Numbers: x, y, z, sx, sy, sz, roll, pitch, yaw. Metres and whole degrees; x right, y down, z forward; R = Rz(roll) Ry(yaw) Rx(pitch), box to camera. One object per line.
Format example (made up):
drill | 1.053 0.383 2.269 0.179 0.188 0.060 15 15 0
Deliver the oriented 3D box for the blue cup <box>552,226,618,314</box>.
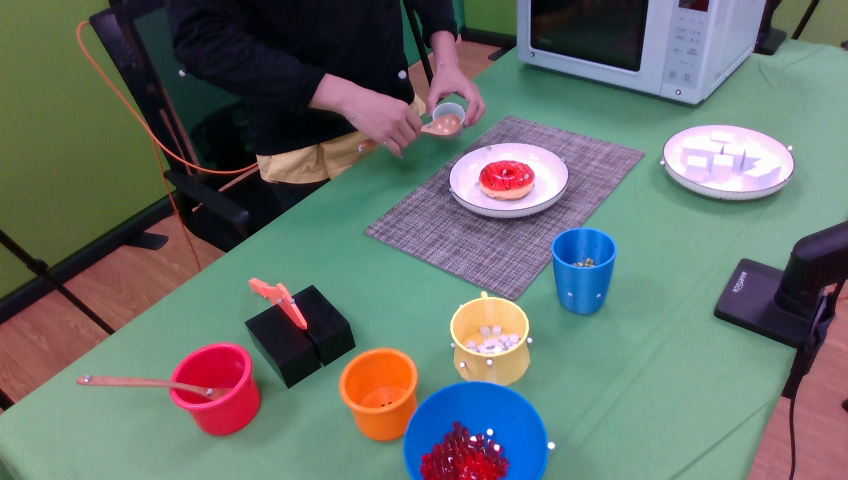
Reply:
blue cup | 0.218 0.047 0.826 0.092 0.100 0.092 -6 40 5

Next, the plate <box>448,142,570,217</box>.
plate | 0.148 -0.101 1.053 0.209 0.038 0.208 -4 40 4

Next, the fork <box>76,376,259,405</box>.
fork | -0.295 0.176 0.716 0.209 0.018 0.028 19 27 -36

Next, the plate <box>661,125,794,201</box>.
plate | 0.513 -0.128 1.035 0.207 0.039 0.206 -4 40 4

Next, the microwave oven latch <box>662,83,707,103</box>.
microwave oven latch | 0.517 -0.296 1.204 0.078 0.029 0.030 27 52 35

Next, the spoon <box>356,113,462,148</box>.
spoon | -0.025 -0.189 1.054 0.194 0.021 0.041 -15 71 -18

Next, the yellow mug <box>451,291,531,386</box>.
yellow mug | 0.085 0.120 0.786 0.100 0.064 0.130 -7 39 1

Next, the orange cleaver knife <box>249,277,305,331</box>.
orange cleaver knife | -0.210 0.088 0.856 0.012 0.077 0.210 -28 15 -25

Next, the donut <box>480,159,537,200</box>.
donut | 0.145 -0.106 1.042 0.099 0.048 0.098 -4 37 4

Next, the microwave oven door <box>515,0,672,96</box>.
microwave oven door | 0.344 -0.455 1.259 0.353 0.245 0.039 26 51 33

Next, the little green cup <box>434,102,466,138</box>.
little green cup | 0.048 -0.222 1.129 0.061 0.039 0.061 -1 61 2

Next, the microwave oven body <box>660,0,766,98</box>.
microwave oven body | 0.473 -0.513 1.317 0.438 0.261 0.327 26 51 34

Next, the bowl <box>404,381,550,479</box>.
bowl | 0.058 0.235 0.645 0.151 0.077 0.150 -4 39 4
